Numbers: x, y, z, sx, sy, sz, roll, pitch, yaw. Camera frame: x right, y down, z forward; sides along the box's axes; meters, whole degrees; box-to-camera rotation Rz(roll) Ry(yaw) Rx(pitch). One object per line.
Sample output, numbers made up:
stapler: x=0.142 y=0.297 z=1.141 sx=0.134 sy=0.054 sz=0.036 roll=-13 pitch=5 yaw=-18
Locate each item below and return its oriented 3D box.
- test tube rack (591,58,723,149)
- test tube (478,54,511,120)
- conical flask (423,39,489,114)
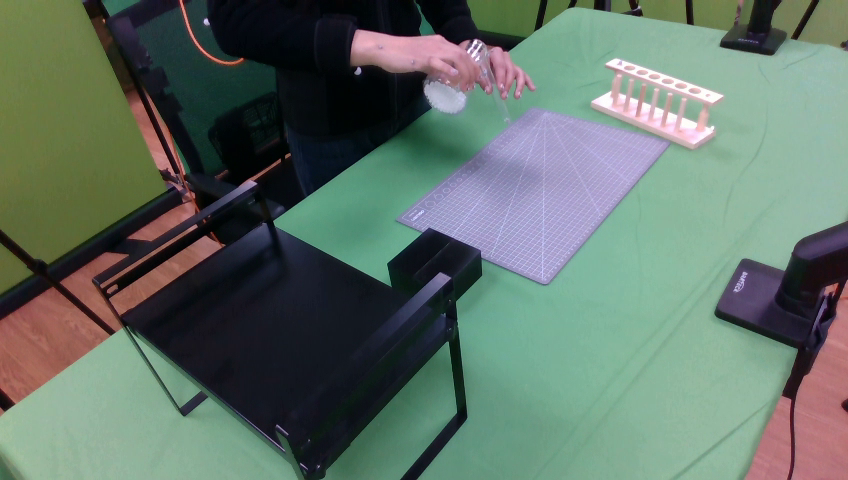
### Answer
test tube rack: x=0.442 y=-0.269 z=1.171 sx=0.067 sy=0.085 sz=0.240 roll=-30 pitch=46 yaw=-24
test tube: x=0.122 y=-0.258 z=1.035 sx=0.017 sy=0.151 sz=0.017 roll=-13 pitch=54 yaw=19
conical flask: x=0.058 y=-0.261 z=0.940 sx=0.075 sy=0.076 sz=0.122 roll=20 pitch=62 yaw=28
